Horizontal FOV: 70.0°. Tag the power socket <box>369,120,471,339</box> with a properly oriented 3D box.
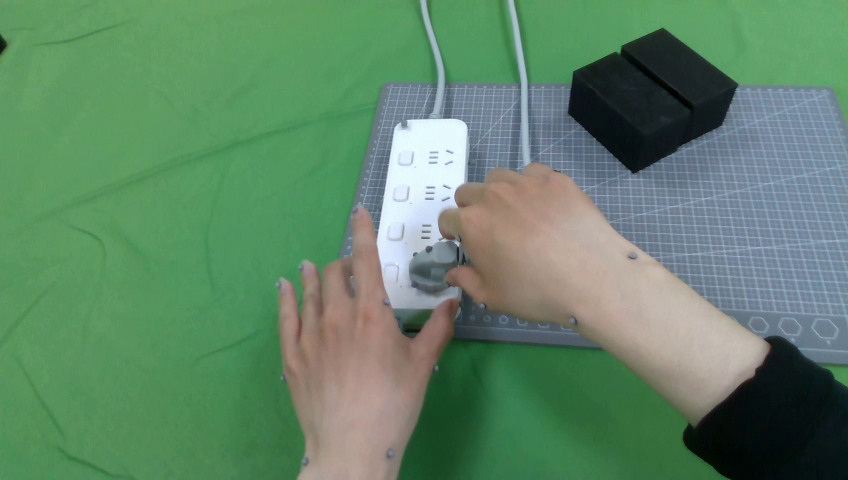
[{"bbox_3d":[0.001,-0.022,0.526,0.072,0.033,0.224,2,54,7],"label":"power socket"}]

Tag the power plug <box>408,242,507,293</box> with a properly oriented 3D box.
[{"bbox_3d":[0.023,0.027,0.464,0.072,0.053,0.035,11,56,12],"label":"power plug"}]
